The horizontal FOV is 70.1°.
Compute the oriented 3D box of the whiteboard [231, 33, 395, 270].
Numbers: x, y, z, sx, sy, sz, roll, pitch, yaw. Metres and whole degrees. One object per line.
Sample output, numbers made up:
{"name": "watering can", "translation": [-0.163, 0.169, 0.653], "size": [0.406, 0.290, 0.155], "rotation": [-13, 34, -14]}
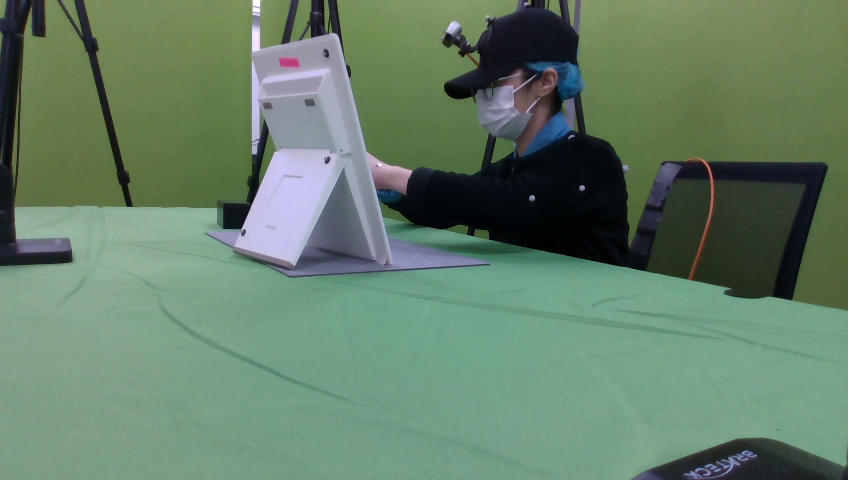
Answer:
{"name": "whiteboard", "translation": [-0.193, -0.094, 0.805], "size": [0.144, 0.305, 0.216], "rotation": [-28, 25, -35]}

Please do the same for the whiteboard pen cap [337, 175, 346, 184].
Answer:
{"name": "whiteboard pen cap", "translation": [-0.154, -0.114, 1.133], "size": [0.017, 0.017, 0.032], "rotation": [1, 4, -9]}

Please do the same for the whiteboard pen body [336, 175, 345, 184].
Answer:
{"name": "whiteboard pen body", "translation": [-0.164, -0.119, 1.190], "size": [0.017, 0.017, 0.140], "rotation": [1, 7, -9]}
